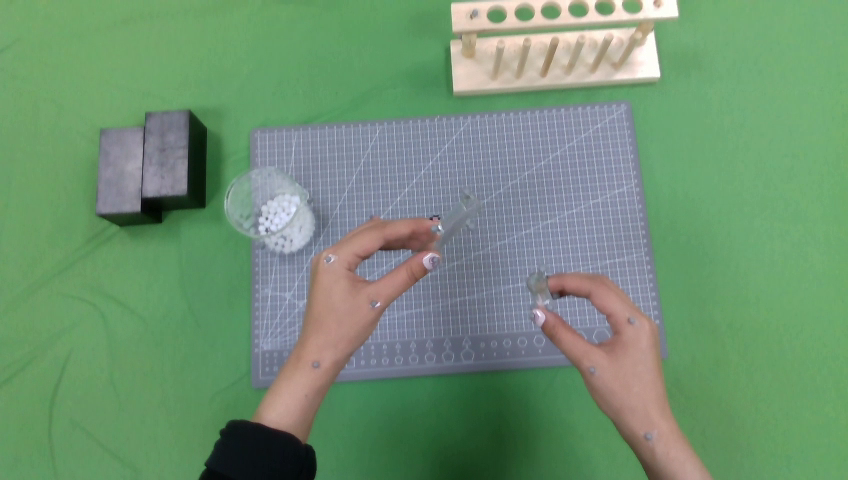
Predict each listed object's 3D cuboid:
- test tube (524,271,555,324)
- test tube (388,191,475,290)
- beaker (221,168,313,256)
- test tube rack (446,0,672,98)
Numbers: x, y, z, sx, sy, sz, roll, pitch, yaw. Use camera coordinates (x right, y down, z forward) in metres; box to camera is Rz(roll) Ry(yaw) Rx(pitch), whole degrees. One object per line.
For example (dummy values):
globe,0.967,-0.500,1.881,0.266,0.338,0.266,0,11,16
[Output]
test tube,0.097,0.051,0.497,0.017,0.151,0.017,-4,72,14
test tube,0.001,0.006,0.479,0.017,0.150,0.017,11,59,-19
beaker,-0.160,-0.026,0.647,0.084,0.100,0.073,-12,77,-2
test tube rack,0.148,-0.220,0.692,0.242,0.085,0.066,-4,77,1
